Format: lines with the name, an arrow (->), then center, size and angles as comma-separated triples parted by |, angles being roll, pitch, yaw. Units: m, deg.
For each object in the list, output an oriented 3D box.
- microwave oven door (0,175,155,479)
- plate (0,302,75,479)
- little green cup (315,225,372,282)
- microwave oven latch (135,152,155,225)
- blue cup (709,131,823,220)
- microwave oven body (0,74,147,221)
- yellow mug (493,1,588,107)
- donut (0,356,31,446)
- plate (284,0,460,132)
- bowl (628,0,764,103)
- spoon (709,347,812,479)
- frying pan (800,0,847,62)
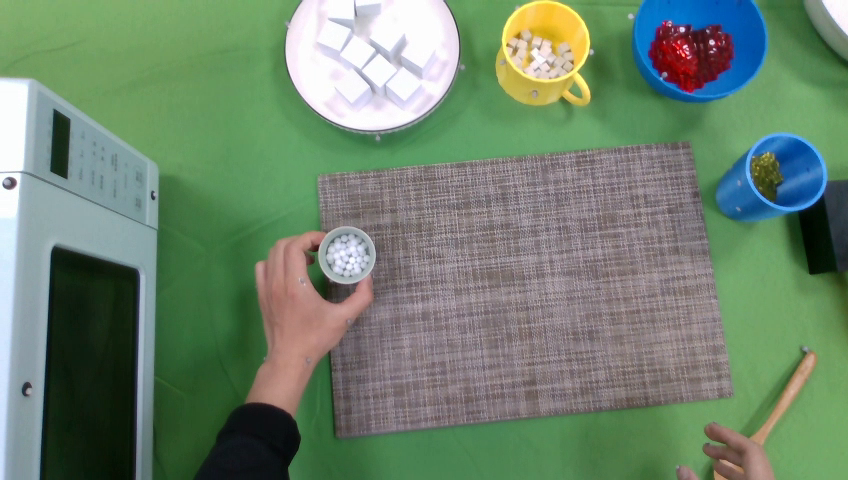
microwave oven door -> -0.314, 0.143, 0.548 | 0.039, 0.244, 0.354 | -3, 81, -1
plate -> -0.448, 0.163, 0.602 | 0.209, 0.038, 0.208 | 0, 83, -2
little green cup -> -0.086, 0.015, 0.656 | 0.061, 0.038, 0.061 | 0, 89, -6
microwave oven latch -> -0.320, -0.057, 0.682 | 0.030, 0.029, 0.079 | -2, 82, -1
blue cup -> 0.370, -0.063, 0.675 | 0.093, 0.100, 0.092 | 0, 79, -1
microwave oven body -> -0.461, 0.107, 0.558 | 0.326, 0.261, 0.440 | -2, 82, -1
yellow mug -> 0.146, -0.208, 0.714 | 0.100, 0.064, 0.130 | -42, 85, -6
donut -> -0.437, 0.159, 0.590 | 0.099, 0.048, 0.098 | 0, 82, -3
plate -> -0.061, -0.226, 0.730 | 0.208, 0.039, 0.207 | 0, 81, 0
bowl -> 0.305, -0.223, 0.712 | 0.151, 0.077, 0.151 | 0, 82, 0
spoon -> 0.381, 0.197, 0.675 | 0.041, 0.022, 0.193 | 38, 83, 18
frying pan -> 0.589, -0.222, 0.700 | 0.307, 0.103, 0.485 | 0, 73, 1
